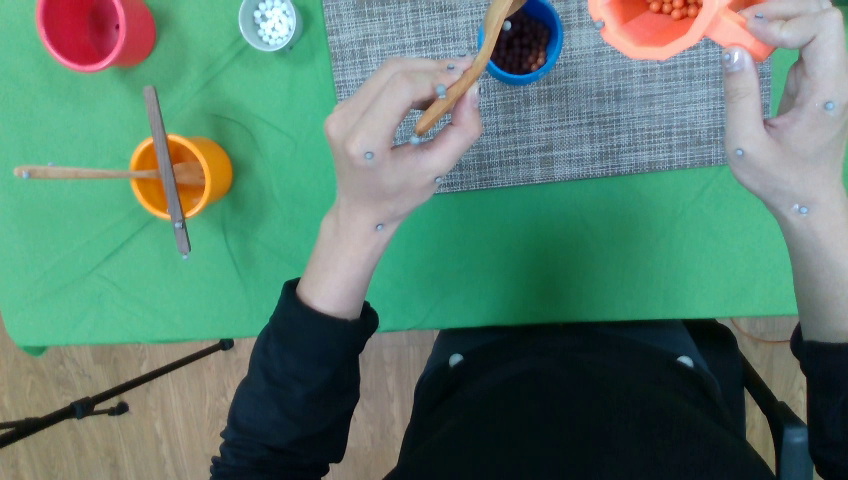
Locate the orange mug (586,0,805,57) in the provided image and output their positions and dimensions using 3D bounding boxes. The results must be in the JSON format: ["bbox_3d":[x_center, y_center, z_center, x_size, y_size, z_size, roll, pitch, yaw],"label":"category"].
[{"bbox_3d":[0.180,-0.167,0.395,0.125,0.101,0.084,44,144,19],"label":"orange mug"}]

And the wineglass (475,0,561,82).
[{"bbox_3d":[0.084,-0.180,0.552,0.073,0.171,0.074,2,104,7],"label":"wineglass"}]

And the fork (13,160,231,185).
[{"bbox_3d":[-0.311,-0.072,0.644,0.208,0.018,0.028,-4,116,-37],"label":"fork"}]

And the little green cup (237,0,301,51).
[{"bbox_3d":[-0.161,-0.231,0.642,0.061,0.038,0.062,2,105,7],"label":"little green cup"}]

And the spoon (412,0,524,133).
[{"bbox_3d":[0.035,-0.123,0.392,0.022,0.192,0.041,38,138,-13],"label":"spoon"}]

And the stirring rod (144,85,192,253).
[{"bbox_3d":[-0.269,-0.072,0.637,0.014,0.006,0.177,-5,103,9],"label":"stirring rod"}]
